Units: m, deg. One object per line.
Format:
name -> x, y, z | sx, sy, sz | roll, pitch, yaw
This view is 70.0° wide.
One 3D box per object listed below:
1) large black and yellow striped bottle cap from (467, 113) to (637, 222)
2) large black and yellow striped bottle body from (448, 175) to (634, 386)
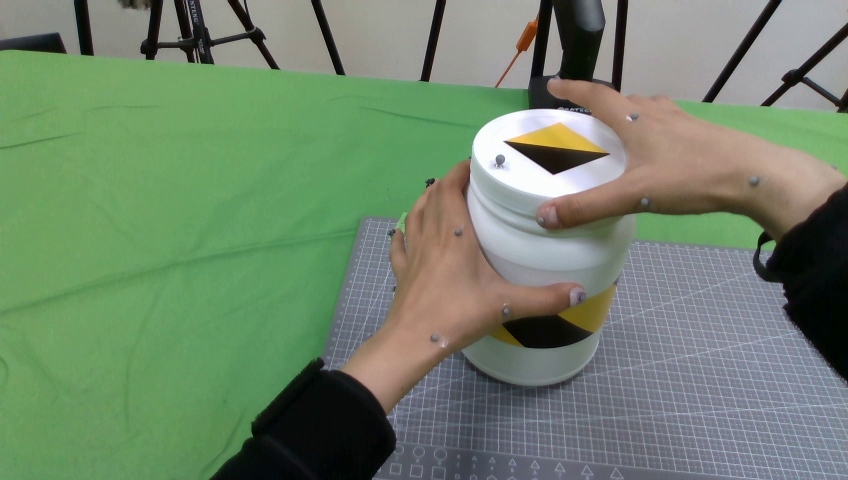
large black and yellow striped bottle cap -> 0.087, -0.054, 0.417 | 0.115, 0.019, 0.114 | 1, 40, -1
large black and yellow striped bottle body -> 0.087, 0.012, 0.476 | 0.131, 0.185, 0.129 | 1, 42, -1
